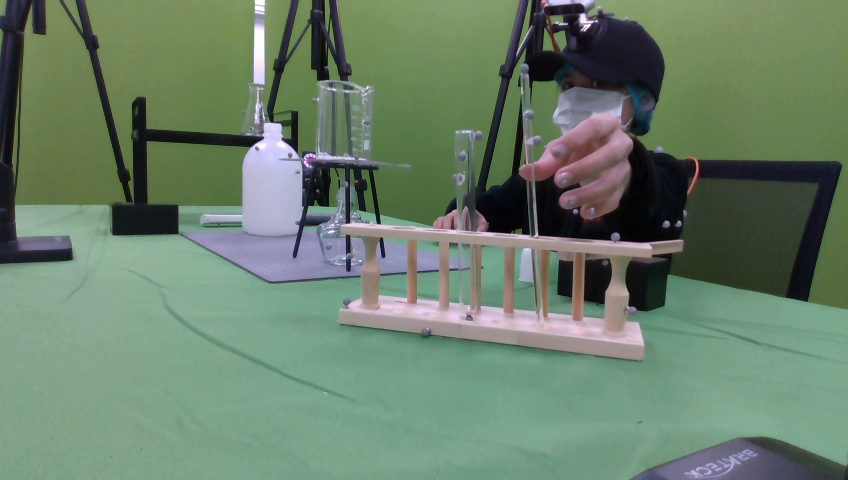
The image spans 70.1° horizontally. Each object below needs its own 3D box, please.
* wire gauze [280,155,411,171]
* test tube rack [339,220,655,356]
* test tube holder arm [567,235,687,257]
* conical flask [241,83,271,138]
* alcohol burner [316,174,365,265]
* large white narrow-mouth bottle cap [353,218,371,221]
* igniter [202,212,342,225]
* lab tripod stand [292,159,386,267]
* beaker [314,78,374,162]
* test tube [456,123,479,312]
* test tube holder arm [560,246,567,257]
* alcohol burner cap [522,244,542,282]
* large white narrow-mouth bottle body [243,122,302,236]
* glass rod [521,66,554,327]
[{"bbox_3d":[-0.103,-0.103,0.785,0.121,0.011,0.126,11,8,42],"label":"wire gauze"},{"bbox_3d":[0.056,0.032,0.495,0.242,0.085,0.067,4,8,15],"label":"test tube rack"},{"bbox_3d":[0.216,0.006,0.630,0.179,0.015,0.013,-3,9,-31],"label":"test tube holder arm"},{"bbox_3d":[-0.384,-0.297,1.393,0.075,0.122,0.075,2,7,0],"label":"conical flask"},{"bbox_3d":[-0.102,-0.028,0.790,0.078,0.119,0.078,0,6,0],"label":"alcohol burner"},{"bbox_3d":[-0.121,-0.029,1.184,0.038,0.024,0.037,2,8,0],"label":"large white narrow-mouth bottle cap"},{"bbox_3d":[-0.298,-0.043,1.216,0.278,0.025,0.057,-3,-1,-32],"label":"igniter"},{"bbox_3d":[-0.105,-0.039,0.798,0.148,0.131,0.148,2,5,0],"label":"lab tripod stand"},{"bbox_3d":[-0.101,-0.150,0.773,0.074,0.100,0.083,-2,8,-40],"label":"beaker"},{"bbox_3d":[0.034,-0.016,0.476,0.017,0.150,0.017,-2,10,1],"label":"test tube"},{"bbox_3d":[0.174,0.008,0.612,0.088,0.015,0.010,-3,8,-30],"label":"test tube holder arm"},{"bbox_3d":[0.137,0.026,0.741,0.034,0.048,0.034,1,7,0],"label":"alcohol burner cap"},{"bbox_3d":[-0.264,-0.109,1.061,0.102,0.194,0.102,2,8,0],"label":"large white narrow-mouth bottle body"},{"bbox_3d":[0.086,-0.028,0.455,0.008,0.199,0.008,-7,10,2],"label":"glass rod"}]
